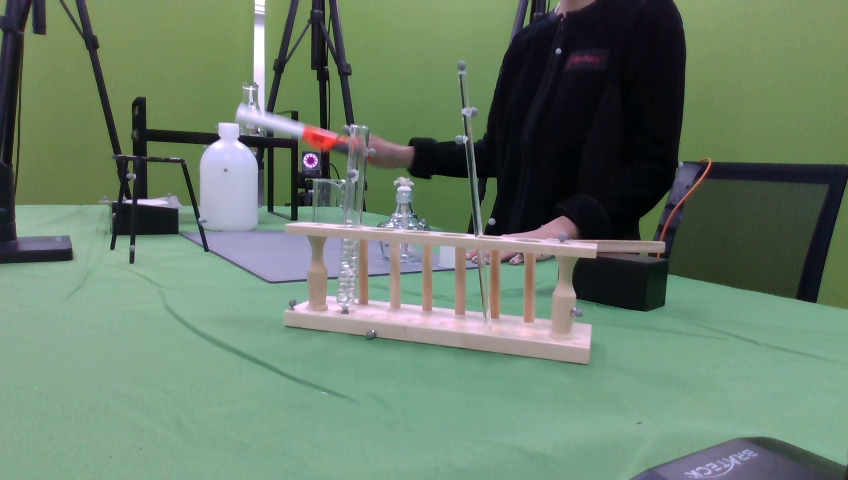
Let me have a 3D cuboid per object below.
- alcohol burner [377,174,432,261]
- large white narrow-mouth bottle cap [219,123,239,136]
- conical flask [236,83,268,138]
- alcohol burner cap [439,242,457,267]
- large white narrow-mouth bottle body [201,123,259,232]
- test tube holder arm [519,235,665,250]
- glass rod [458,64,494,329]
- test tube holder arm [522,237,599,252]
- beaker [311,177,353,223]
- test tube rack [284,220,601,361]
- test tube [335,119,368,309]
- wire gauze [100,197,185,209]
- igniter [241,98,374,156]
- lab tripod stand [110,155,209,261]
[{"bbox_3d":[-0.027,-0.031,0.838,0.078,0.119,0.078,0,6,0],"label":"alcohol burner"},{"bbox_3d":[-0.356,-0.201,1.104,0.038,0.024,0.037,2,8,0],"label":"large white narrow-mouth bottle cap"},{"bbox_3d":[-0.400,-0.298,1.396,0.075,0.122,0.075,2,8,0],"label":"conical flask"},{"bbox_3d":[0.038,0.011,0.807,0.034,0.048,0.034,3,8,0],"label":"alcohol burner cap"},{"bbox_3d":[-0.358,-0.116,1.116,0.102,0.194,0.102,2,8,0],"label":"large white narrow-mouth bottle body"},{"bbox_3d":[0.186,0.003,0.656,0.179,0.015,0.013,-1,17,-20],"label":"test tube holder arm"},{"bbox_3d":[0.039,-0.029,0.449,0.008,0.199,0.008,-7,9,1],"label":"glass rod"},{"bbox_3d":[0.144,0.005,0.636,0.088,0.015,0.010,-1,17,-20],"label":"test tube holder arm"},{"bbox_3d":[-0.167,-0.064,1.106,0.074,0.100,0.083,-2,9,-26],"label":"beaker"},{"bbox_3d":[0.013,0.032,0.482,0.242,0.085,0.067,4,7,16],"label":"test tube rack"},{"bbox_3d":[-0.057,-0.019,0.477,0.017,0.150,0.017,6,9,-1],"label":"test tube"},{"bbox_3d":[-0.469,-0.062,1.008,0.126,0.011,0.121,-2,8,-25],"label":"wire gauze"},{"bbox_3d":[-0.229,-0.226,1.223,0.278,0.057,0.025,16,-44,-25],"label":"igniter"},{"bbox_3d":[-0.361,-0.046,0.806,0.148,0.131,0.148,2,5,0],"label":"lab tripod stand"}]
